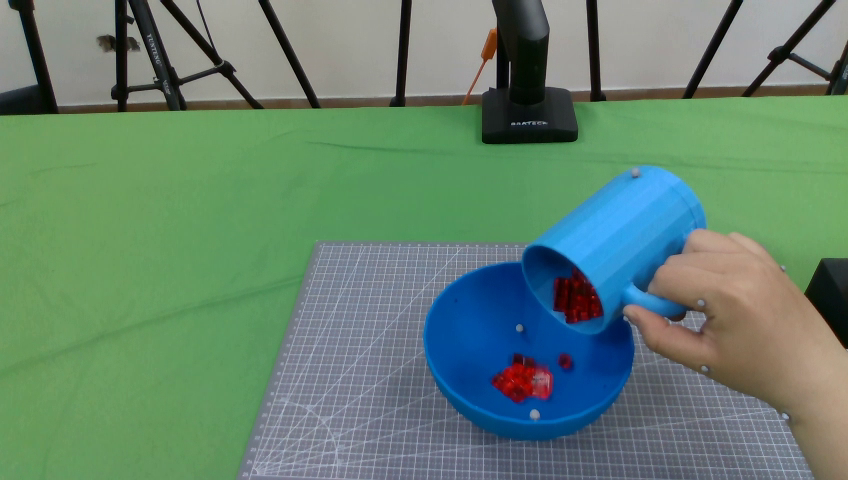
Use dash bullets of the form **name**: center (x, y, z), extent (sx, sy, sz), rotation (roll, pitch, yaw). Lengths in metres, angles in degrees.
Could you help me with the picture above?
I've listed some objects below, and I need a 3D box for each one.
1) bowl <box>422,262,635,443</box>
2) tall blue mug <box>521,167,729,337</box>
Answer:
- **bowl**: center (0.076, 0.096, 0.459), extent (0.151, 0.077, 0.150), rotation (-2, 41, 2)
- **tall blue mug**: center (0.140, 0.007, 0.416), extent (0.108, 0.078, 0.107), rotation (-35, 10, -22)
